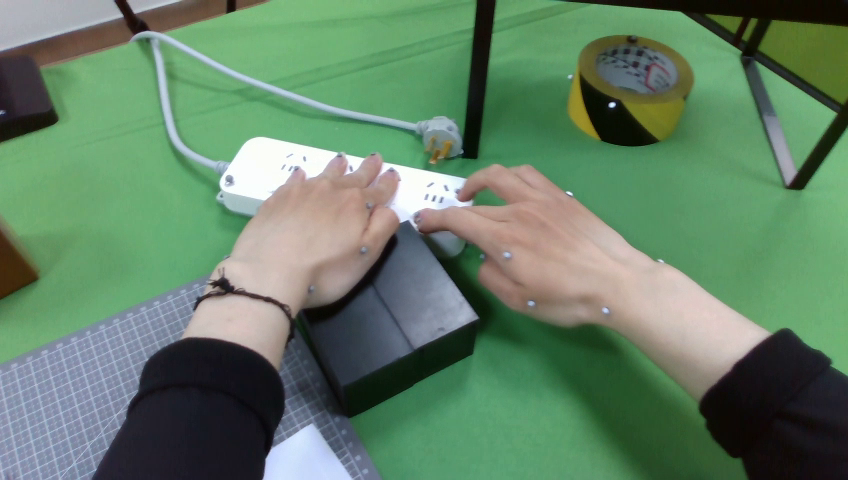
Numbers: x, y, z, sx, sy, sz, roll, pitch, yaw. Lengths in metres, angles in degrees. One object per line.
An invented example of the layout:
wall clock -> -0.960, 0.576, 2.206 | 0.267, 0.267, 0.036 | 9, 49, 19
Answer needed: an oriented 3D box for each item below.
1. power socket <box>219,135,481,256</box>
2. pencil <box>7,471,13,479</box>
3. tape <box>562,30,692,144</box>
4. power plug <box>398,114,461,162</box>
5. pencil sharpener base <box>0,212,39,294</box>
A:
power socket -> -0.063, -0.040, 0.514 | 0.226, 0.033, 0.071 | 12, 52, 8
pencil -> -0.215, 0.211, 0.322 | 0.012, 0.012, 0.192 | -20, 54, -17
tape -> 0.199, -0.152, 0.598 | 0.117, 0.053, 0.115 | 1, 52, -1
power plug -> 0.003, -0.092, 0.569 | 0.072, 0.035, 0.052 | -12, 41, 42
pencil sharpener base -> -0.343, -0.003, 0.429 | 0.076, 0.108, 0.061 | -36, 61, -26
